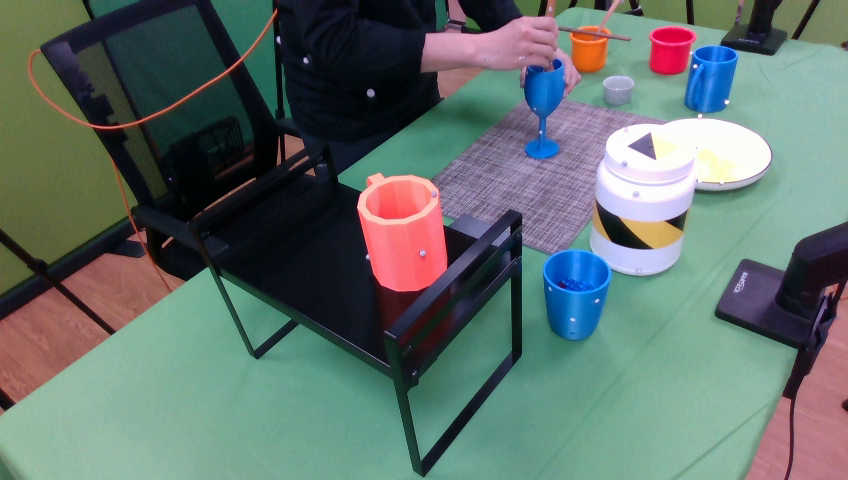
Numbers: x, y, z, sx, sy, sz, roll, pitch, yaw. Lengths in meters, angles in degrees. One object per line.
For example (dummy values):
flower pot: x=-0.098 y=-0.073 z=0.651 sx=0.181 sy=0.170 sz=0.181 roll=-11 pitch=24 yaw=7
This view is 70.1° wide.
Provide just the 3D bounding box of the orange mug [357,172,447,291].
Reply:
orange mug: x=-0.030 y=-0.018 z=0.669 sx=0.084 sy=0.101 sz=0.125 roll=-23 pitch=47 yaw=-16

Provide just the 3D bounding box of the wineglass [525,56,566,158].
wineglass: x=0.219 y=-0.240 z=1.101 sx=0.074 sy=0.173 sz=0.073 roll=-4 pitch=41 yaw=4

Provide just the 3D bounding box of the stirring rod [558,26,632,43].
stirring rod: x=0.381 y=-0.462 z=1.356 sx=0.175 sy=0.006 sz=0.014 roll=22 pitch=49 yaw=29

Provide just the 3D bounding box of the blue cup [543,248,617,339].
blue cup: x=0.199 y=0.076 z=0.797 sx=0.092 sy=0.100 sz=0.092 roll=-4 pitch=39 yaw=4

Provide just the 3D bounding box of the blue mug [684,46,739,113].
blue mug: x=0.556 y=-0.310 z=1.190 sx=0.117 sy=0.106 sz=0.081 roll=-32 pitch=46 yaw=-25

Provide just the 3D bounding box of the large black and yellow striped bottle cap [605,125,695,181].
large black and yellow striped bottle cap: x=0.304 y=-0.120 z=0.817 sx=0.115 sy=0.019 sz=0.114 roll=-3 pitch=41 yaw=3

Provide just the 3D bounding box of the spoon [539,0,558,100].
spoon: x=0.212 y=-0.324 z=1.023 sx=0.042 sy=0.194 sz=0.021 roll=-25 pitch=41 yaw=-19

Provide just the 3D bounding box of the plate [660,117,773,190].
plate: x=0.495 y=-0.149 z=1.063 sx=0.209 sy=0.038 sz=0.208 roll=-5 pitch=40 yaw=5

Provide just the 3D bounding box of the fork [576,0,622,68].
fork: x=0.409 y=-0.484 z=1.381 sx=0.028 sy=0.019 sz=0.207 roll=37 pitch=101 yaw=46

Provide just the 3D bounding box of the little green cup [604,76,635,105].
little green cup: x=0.408 y=-0.311 z=1.266 sx=0.061 sy=0.039 sz=0.061 roll=-4 pitch=40 yaw=4

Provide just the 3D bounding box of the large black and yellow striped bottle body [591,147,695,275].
large black and yellow striped bottle body: x=0.313 y=-0.056 z=0.870 sx=0.131 sy=0.185 sz=0.130 roll=-4 pitch=40 yaw=4
